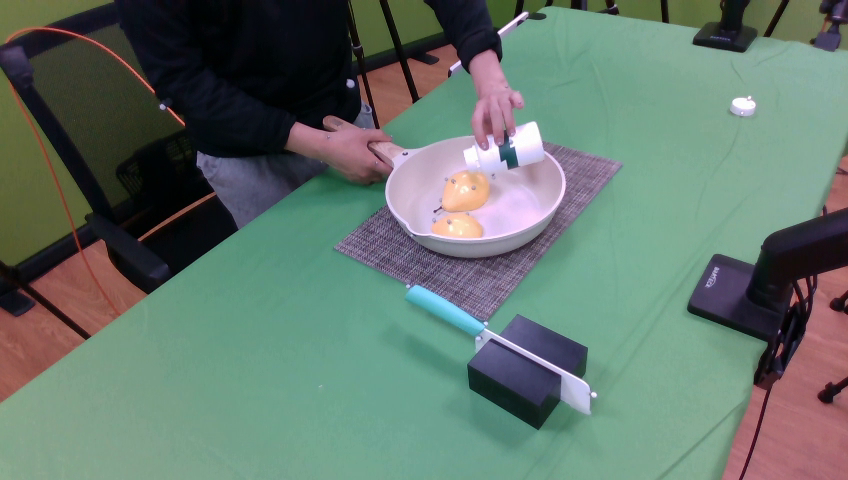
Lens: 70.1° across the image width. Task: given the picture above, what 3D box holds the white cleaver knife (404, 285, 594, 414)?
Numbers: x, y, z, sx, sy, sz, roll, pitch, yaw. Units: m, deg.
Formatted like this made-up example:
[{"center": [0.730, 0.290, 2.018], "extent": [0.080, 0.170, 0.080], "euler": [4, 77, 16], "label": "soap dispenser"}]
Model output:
[{"center": [0.084, 0.135, 0.764], "extent": [0.284, 0.066, 0.021], "euler": [28, 47, 31], "label": "white cleaver knife"}]

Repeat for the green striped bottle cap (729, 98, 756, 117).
[{"center": [0.623, -0.259, 1.182], "extent": [0.044, 0.020, 0.044], "euler": [-3, 41, 3], "label": "green striped bottle cap"}]

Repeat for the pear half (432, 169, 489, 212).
[{"center": [0.057, -0.084, 1.023], "extent": [0.110, 0.056, 0.075], "euler": [-33, 42, -24], "label": "pear half"}]

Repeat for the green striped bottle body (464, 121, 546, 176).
[{"center": [0.124, -0.139, 0.940], "extent": [0.119, 0.063, 0.063], "euler": [-15, 40, 9], "label": "green striped bottle body"}]

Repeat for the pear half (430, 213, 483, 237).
[{"center": [0.051, -0.024, 0.972], "extent": [0.087, 0.031, 0.070], "euler": [14, 40, 18], "label": "pear half"}]

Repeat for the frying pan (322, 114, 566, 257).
[{"center": [0.004, -0.121, 1.039], "extent": [0.484, 0.103, 0.308], "euler": [31, 52, 25], "label": "frying pan"}]
